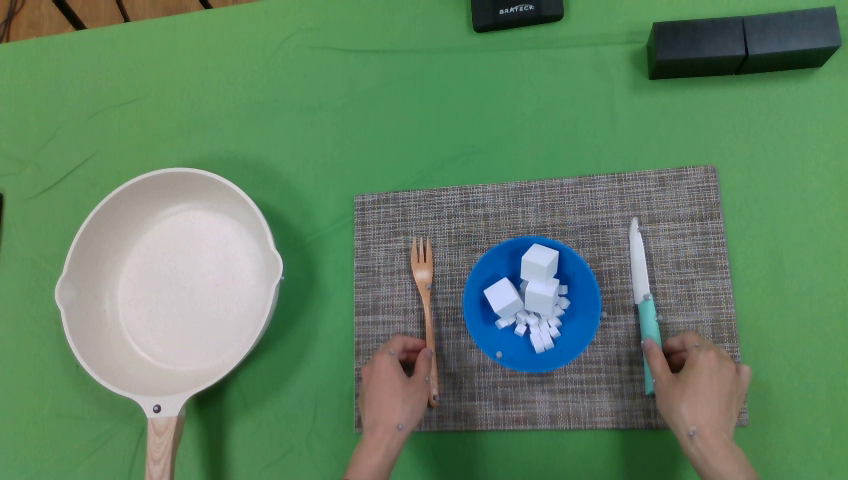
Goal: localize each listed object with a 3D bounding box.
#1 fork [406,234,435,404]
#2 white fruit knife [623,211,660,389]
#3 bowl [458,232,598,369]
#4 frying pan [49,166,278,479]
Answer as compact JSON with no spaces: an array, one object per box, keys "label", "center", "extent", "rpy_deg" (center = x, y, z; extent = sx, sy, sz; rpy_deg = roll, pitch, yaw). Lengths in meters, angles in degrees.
[{"label":"fork","center":[-0.001,0.094,0.740],"extent":[0.028,0.018,0.206],"rpy_deg":[-2,78,-15]},{"label":"white fruit knife","center":[0.250,0.067,0.702],"extent":[0.016,0.027,0.206],"rpy_deg":[4,76,-32]},{"label":"bowl","center":[0.118,0.072,0.693],"extent":[0.151,0.077,0.150],"rpy_deg":[-2,78,9]},{"label":"frying pan","center":[-0.317,0.150,0.742],"extent":[0.306,0.103,0.484],"rpy_deg":[-6,69,9]}]
